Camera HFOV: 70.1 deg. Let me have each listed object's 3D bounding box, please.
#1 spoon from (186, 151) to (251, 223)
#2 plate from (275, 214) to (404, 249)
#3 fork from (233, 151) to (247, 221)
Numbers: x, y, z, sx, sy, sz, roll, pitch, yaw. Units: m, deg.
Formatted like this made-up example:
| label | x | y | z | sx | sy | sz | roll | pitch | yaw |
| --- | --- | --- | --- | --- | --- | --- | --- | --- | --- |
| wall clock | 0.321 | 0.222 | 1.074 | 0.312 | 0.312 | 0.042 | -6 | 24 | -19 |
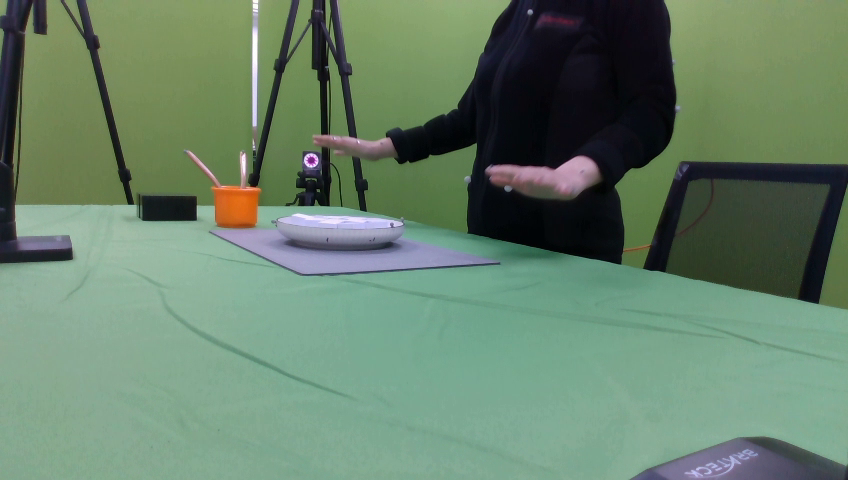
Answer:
| label | x | y | z | sx | sy | sz | roll | pitch | yaw |
| --- | --- | --- | --- | --- | --- | --- | --- | --- | --- |
| spoon | -0.401 | -0.103 | 1.176 | 0.021 | 0.193 | 0.042 | -42 | -9 | 25 |
| plate | -0.135 | -0.013 | 0.982 | 0.208 | 0.039 | 0.207 | 3 | 7 | 0 |
| fork | -0.366 | -0.112 | 1.215 | 0.028 | 0.018 | 0.206 | 17 | 43 | -29 |
